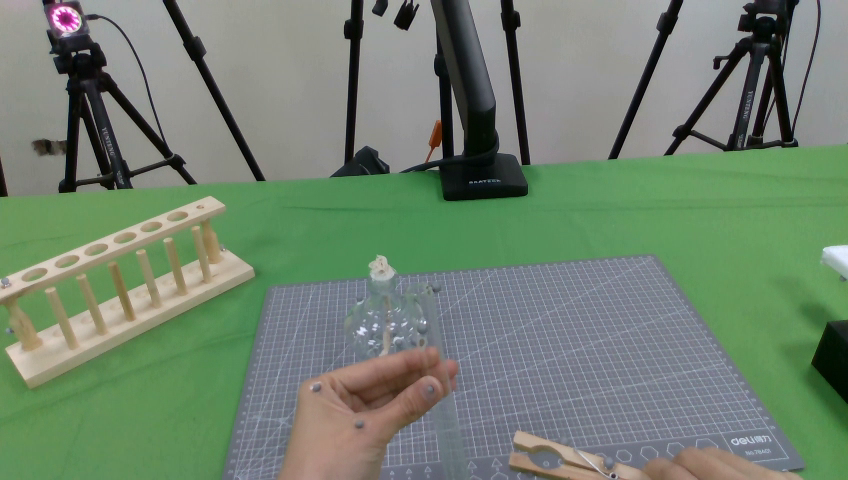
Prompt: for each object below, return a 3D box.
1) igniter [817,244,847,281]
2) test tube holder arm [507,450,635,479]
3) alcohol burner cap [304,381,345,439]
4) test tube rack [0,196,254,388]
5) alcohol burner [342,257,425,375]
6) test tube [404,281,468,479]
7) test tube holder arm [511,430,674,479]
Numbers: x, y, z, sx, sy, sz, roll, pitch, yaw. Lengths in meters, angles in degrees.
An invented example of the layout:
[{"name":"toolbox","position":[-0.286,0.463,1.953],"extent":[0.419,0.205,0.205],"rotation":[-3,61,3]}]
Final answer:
[{"name":"igniter","position":[0.425,0.077,0.495],"extent":[0.057,0.025,0.274],"rotation":[-6,29,-3]},{"name":"test tube holder arm","position":[0.092,0.138,0.353],"extent":[0.087,0.015,0.010],"rotation":[6,60,19]},{"name":"alcohol burner cap","position":[-0.084,0.138,0.505],"extent":[0.034,0.048,0.033],"rotation":[-1,33,1]},{"name":"test tube rack","position":[-0.309,0.044,0.633],"extent":[0.066,0.086,0.242],"rotation":[27,43,37]},{"name":"alcohol burner","position":[-0.038,0.064,0.551],"extent":[0.078,0.120,0.077],"rotation":[-1,34,1]},{"name":"test tube","position":[0.009,0.095,0.369],"extent":[0.017,0.151,0.017],"rotation":[-10,20,4]},{"name":"test tube holder arm","position":[0.135,0.140,0.340],"extent":[0.177,0.015,0.013],"rotation":[11,62,22]}]
